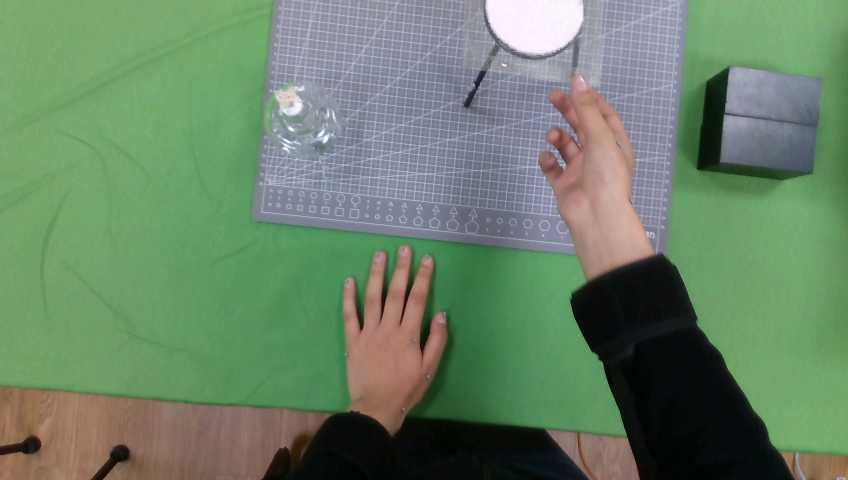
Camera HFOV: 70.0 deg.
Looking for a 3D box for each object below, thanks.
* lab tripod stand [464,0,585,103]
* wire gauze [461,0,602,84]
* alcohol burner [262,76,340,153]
[{"bbox_3d":[0.093,-0.207,0.596,0.148,0.131,0.148,0,88,0],"label":"lab tripod stand"},{"bbox_3d":[0.097,-0.203,0.528,0.125,0.011,0.121,6,87,-2],"label":"wire gauze"},{"bbox_3d":[-0.123,-0.126,0.595,0.078,0.119,0.078,0,90,-2],"label":"alcohol burner"}]
